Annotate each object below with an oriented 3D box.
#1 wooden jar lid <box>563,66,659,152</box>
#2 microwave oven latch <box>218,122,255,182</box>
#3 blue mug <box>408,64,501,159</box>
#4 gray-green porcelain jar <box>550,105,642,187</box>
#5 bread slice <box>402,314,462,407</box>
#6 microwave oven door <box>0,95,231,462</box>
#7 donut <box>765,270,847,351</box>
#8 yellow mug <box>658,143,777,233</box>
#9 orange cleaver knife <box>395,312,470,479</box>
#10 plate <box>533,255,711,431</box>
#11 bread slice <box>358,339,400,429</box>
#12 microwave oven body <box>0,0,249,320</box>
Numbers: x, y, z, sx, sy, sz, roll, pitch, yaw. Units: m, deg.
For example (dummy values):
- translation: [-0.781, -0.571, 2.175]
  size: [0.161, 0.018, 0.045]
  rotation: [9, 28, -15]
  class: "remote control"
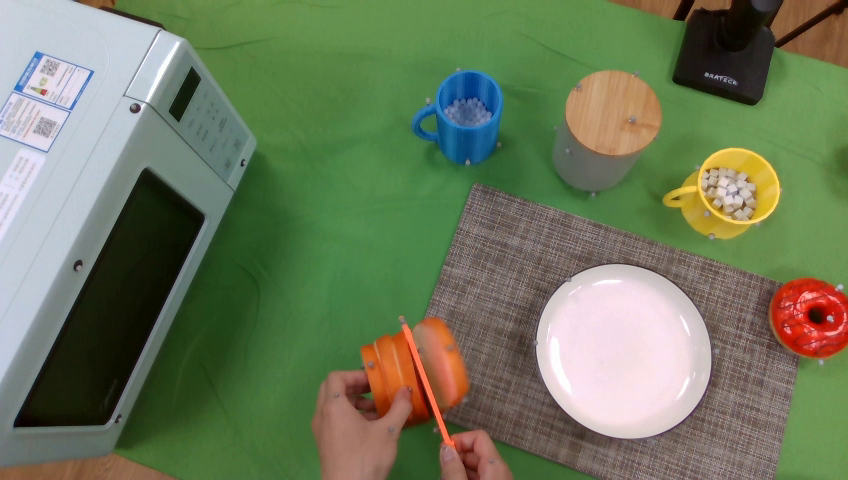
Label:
- translation: [0.214, -0.149, 0.699]
  size: [0.108, 0.021, 0.107]
  rotation: [0, 73, 2]
  class: "wooden jar lid"
- translation: [-0.251, -0.119, 0.797]
  size: [0.030, 0.029, 0.079]
  rotation: [22, 78, 7]
  class: "microwave oven latch"
- translation: [0.038, -0.161, 0.783]
  size: [0.116, 0.106, 0.082]
  rotation: [-7, 75, 1]
  class: "blue mug"
- translation: [0.216, -0.132, 0.759]
  size: [0.106, 0.127, 0.105]
  rotation: [0, 75, 2]
  class: "gray-green porcelain jar"
- translation: [0.010, 0.138, 0.692]
  size: [0.019, 0.132, 0.104]
  rotation: [-18, 75, -18]
  class: "bread slice"
- translation: [-0.334, 0.053, 0.649]
  size: [0.039, 0.245, 0.354]
  rotation: [19, 76, 7]
  class: "microwave oven door"
- translation: [0.465, 0.085, 0.733]
  size: [0.099, 0.048, 0.098]
  rotation: [0, 76, 2]
  class: "donut"
- translation: [0.365, -0.064, 0.768]
  size: [0.131, 0.064, 0.099]
  rotation: [-4, 75, 2]
  class: "yellow mug"
- translation: [0.011, 0.173, 0.634]
  size: [0.012, 0.077, 0.211]
  rotation: [-21, 85, -8]
  class: "orange cleaver knife"
- translation: [0.235, 0.123, 0.734]
  size: [0.207, 0.039, 0.206]
  rotation: [0, 76, 2]
  class: "plate"
- translation: [-0.051, 0.160, 0.689]
  size: [0.018, 0.135, 0.106]
  rotation: [-18, 73, -6]
  class: "bread slice"
- translation: [-0.455, -0.031, 0.681]
  size: [0.325, 0.261, 0.440]
  rotation: [19, 77, 6]
  class: "microwave oven body"
